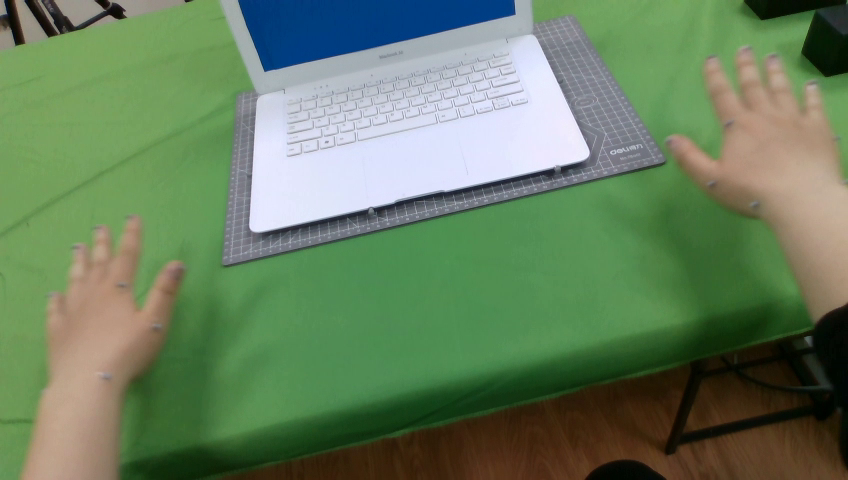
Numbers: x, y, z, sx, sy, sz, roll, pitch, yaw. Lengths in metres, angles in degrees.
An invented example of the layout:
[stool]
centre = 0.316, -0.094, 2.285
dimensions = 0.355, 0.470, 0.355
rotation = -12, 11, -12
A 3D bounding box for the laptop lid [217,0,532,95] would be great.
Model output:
[laptop lid]
centre = -0.059, -0.302, 0.680
dimensions = 0.357, 0.244, 0.013
rotation = -14, 41, 3

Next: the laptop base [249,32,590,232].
[laptop base]
centre = -0.020, -0.127, 0.681
dimensions = 0.354, 0.023, 0.233
rotation = -13, 52, 2
